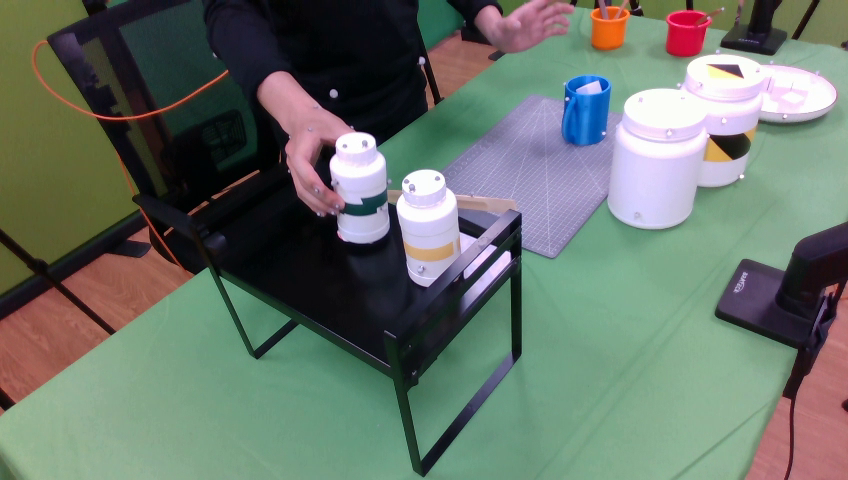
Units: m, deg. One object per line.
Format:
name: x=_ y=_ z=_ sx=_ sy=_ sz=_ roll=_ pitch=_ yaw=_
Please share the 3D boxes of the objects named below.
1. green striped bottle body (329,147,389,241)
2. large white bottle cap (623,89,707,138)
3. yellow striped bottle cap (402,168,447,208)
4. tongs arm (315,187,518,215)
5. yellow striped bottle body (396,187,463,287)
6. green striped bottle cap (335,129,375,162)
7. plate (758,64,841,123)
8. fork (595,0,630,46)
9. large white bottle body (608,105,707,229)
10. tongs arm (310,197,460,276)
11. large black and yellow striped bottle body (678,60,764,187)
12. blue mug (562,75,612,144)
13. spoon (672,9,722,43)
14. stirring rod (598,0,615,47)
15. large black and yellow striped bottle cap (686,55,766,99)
green striped bottle body: x=-0.074 y=-0.063 z=0.696 sx=0.063 sy=0.119 sz=0.063 roll=0 pitch=40 yaw=1
large white bottle cap: x=0.352 y=-0.187 z=0.886 sx=0.115 sy=0.018 sz=0.114 roll=-4 pitch=41 yaw=4
yellow striped bottle cap: x=0.000 y=-0.052 z=0.605 sx=0.044 sy=0.019 sz=0.044 roll=-5 pitch=43 yaw=5
tongs arm: x=-0.028 y=-0.059 z=0.988 sx=0.382 sy=0.027 sz=0.051 roll=9 pitch=44 yaw=36
yellow striped bottle body: x=0.006 y=-0.013 z=0.638 sx=0.063 sy=0.121 sz=0.062 roll=-5 pitch=41 yaw=4
green striped bottle cap: x=-0.076 y=-0.104 z=0.664 sx=0.044 sy=0.020 sz=0.044 roll=1 pitch=40 yaw=0
plate: x=0.695 y=-0.283 z=1.189 sx=0.207 sy=0.039 sz=0.206 roll=-4 pitch=40 yaw=4
fork: x=0.480 y=-0.556 z=1.453 sx=0.028 sy=0.019 sz=0.207 roll=41 pitch=103 yaw=40
large white bottle body: x=0.361 y=-0.124 z=0.941 sx=0.130 sy=0.185 sz=0.130 roll=-5 pitch=41 yaw=4
tongs arm: x=-0.078 y=-0.012 z=0.943 sx=0.028 sy=0.028 sz=0.384 roll=-43 pitch=39 yaw=-23
large black and yellow striped bottle body: x=0.482 y=-0.196 z=1.008 sx=0.131 sy=0.185 sz=0.130 roll=-4 pitch=41 yaw=4
blue mug: x=0.298 y=-0.239 z=1.143 sx=0.081 sy=0.106 sz=0.117 roll=30 pitch=54 yaw=36
spoon: x=0.606 y=-0.476 z=1.345 sx=0.042 sy=0.021 sz=0.193 roll=-6 pitch=-3 yaw=-2
stirring rod: x=0.437 y=-0.551 z=1.462 sx=0.014 sy=0.006 sz=0.175 roll=-11 pitch=83 yaw=1
large black and yellow striped bottle cap: x=0.474 y=-0.258 z=0.952 sx=0.115 sy=0.019 sz=0.114 roll=-5 pitch=41 yaw=5
